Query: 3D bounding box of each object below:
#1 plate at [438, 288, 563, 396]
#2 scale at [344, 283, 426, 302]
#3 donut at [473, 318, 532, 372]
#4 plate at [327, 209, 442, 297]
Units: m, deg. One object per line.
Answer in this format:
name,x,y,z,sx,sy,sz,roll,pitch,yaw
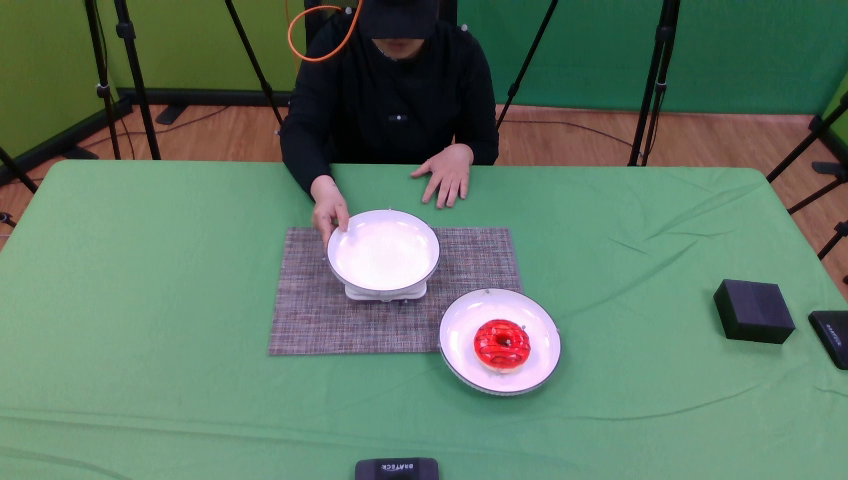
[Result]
plate,0.127,0.173,1.025,0.209,0.038,0.208,3,48,-3
scale,-0.075,0.033,1.149,0.149,0.032,0.199,0,45,-5
donut,0.131,0.174,1.010,0.099,0.048,0.098,1,48,-1
plate,-0.071,0.027,1.110,0.208,0.039,0.206,2,46,-1
